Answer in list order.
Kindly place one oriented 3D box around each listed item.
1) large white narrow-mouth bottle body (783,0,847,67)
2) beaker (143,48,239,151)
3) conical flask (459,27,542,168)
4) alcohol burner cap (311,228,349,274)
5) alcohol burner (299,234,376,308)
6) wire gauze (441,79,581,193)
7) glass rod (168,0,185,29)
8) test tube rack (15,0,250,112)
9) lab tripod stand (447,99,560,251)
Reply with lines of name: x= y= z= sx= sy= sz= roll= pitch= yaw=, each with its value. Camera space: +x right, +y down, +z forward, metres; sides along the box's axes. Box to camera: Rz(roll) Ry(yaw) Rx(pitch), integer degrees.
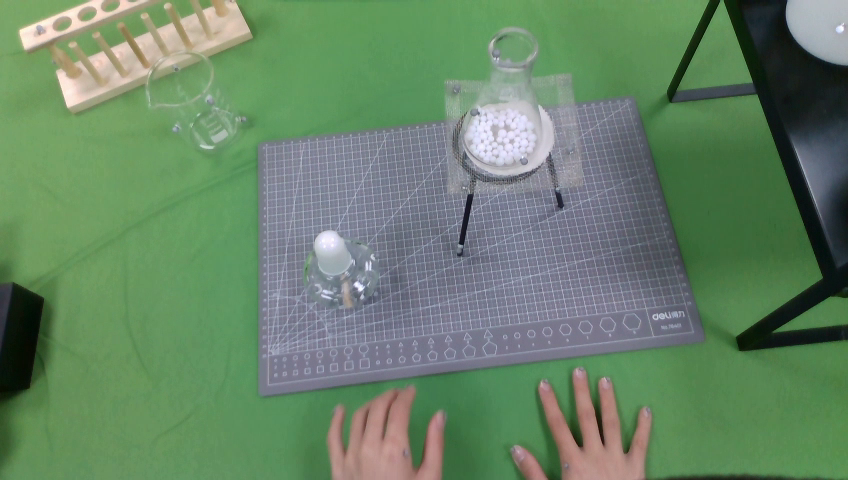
large white narrow-mouth bottle body: x=0.356 y=-0.226 z=0.442 sx=0.102 sy=0.196 sz=0.101 roll=-1 pitch=65 yaw=2
beaker: x=-0.262 y=-0.153 z=0.690 sx=0.073 sy=0.101 sz=0.084 roll=38 pitch=74 yaw=18
conical flask: x=0.066 y=-0.119 z=0.501 sx=0.075 sy=0.123 sz=0.075 roll=-1 pitch=67 yaw=2
alcohol burner cap: x=-0.090 y=0.008 z=0.563 sx=0.034 sy=0.048 sz=0.033 roll=0 pitch=61 yaw=0
alcohol burner: x=-0.087 y=0.024 z=0.596 sx=0.078 sy=0.120 sz=0.077 roll=0 pitch=66 yaw=1
wire gauze: x=0.077 y=-0.100 z=0.557 sx=0.121 sy=0.011 sz=0.124 roll=-1 pitch=65 yaw=0
glass rod: x=-0.310 y=-0.317 z=0.696 sx=0.008 sy=0.201 sz=0.008 roll=1 pitch=65 yaw=-1
test tube rack: x=-0.350 y=-0.254 z=0.744 sx=0.242 sy=0.086 sz=0.066 roll=-26 pitch=68 yaw=-8
lab tripod stand: x=0.074 y=-0.069 z=0.616 sx=0.148 sy=0.132 sz=0.147 roll=-1 pitch=65 yaw=2
